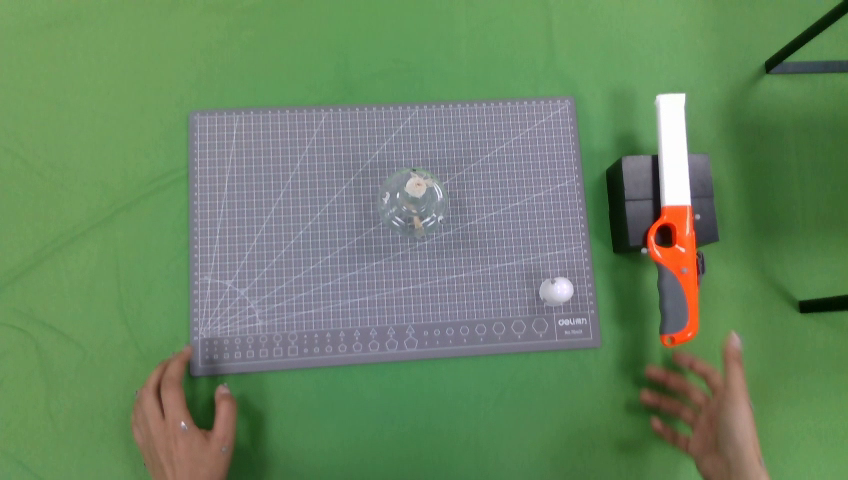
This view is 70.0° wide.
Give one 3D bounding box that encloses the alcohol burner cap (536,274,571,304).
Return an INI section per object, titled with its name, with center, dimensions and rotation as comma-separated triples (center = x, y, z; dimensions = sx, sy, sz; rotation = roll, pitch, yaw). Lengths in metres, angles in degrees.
[alcohol burner cap]
center = 0.145, 0.053, 0.669
dimensions = 0.034, 0.048, 0.033
rotation = 1, 80, -3

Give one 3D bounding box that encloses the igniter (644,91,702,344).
[igniter]
center = 0.266, -0.027, 0.653
dimensions = 0.057, 0.025, 0.275
rotation = 0, 80, 8

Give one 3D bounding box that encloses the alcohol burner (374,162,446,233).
[alcohol burner]
center = -0.014, -0.048, 0.638
dimensions = 0.078, 0.119, 0.077
rotation = 1, 81, -5
